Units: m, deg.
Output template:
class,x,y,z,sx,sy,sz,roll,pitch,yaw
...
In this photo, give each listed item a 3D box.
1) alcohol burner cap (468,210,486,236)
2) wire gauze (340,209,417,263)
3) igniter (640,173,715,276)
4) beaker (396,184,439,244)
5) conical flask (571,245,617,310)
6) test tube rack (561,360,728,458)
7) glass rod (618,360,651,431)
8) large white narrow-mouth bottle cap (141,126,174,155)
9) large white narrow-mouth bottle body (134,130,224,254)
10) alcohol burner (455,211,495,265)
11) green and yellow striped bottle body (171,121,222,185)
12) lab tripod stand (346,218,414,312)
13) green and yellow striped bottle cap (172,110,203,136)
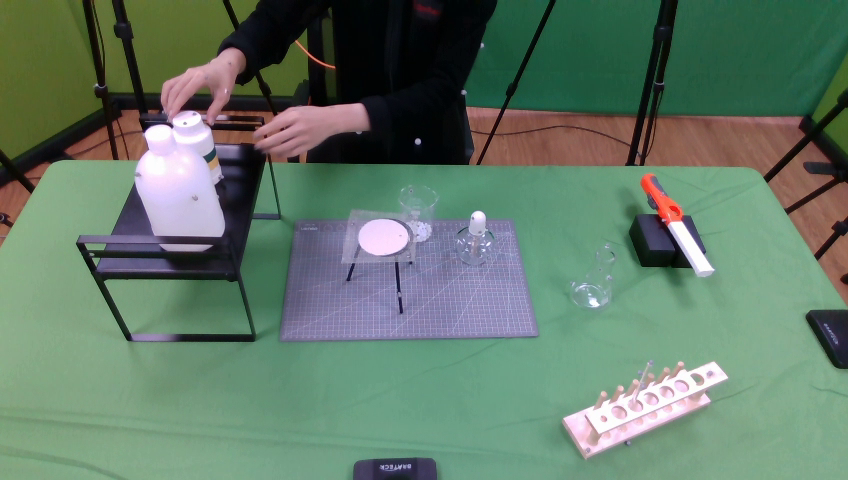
class,x,y,z,sx,sy,sz,roll,pitch,yaw
alcohol burner cap,0.100,-0.034,1.119,0.034,0.048,0.033,0,53,0
wire gauze,-0.074,-0.006,1.023,0.121,0.011,0.124,3,46,0
igniter,0.495,-0.039,1.204,0.057,0.025,0.274,-2,47,-12
beaker,-0.014,-0.049,1.186,0.084,0.101,0.073,-8,48,-12
conical flask,0.313,0.064,1.089,0.075,0.122,0.075,2,46,-2
test tube rack,0.341,0.248,0.940,0.243,0.085,0.066,-15,49,-18
glass rod,0.298,0.227,0.865,0.008,0.201,0.008,-2,47,2
large white narrow-mouth bottle cap,-0.356,-0.133,0.811,0.038,0.024,0.037,2,48,-1
large white narrow-mouth bottle body,-0.358,-0.075,0.875,0.102,0.195,0.101,1,48,-1
alcohol burner,0.097,-0.010,1.147,0.078,0.120,0.077,1,47,-1
green and yellow striped bottle body,-0.375,-0.149,0.995,0.063,0.120,0.063,2,46,-2
lab tripod stand,-0.070,0.037,1.075,0.148,0.132,0.147,1,48,-1
green and yellow striped bottle cap,-0.374,-0.185,0.958,0.045,0.020,0.045,4,46,-4
